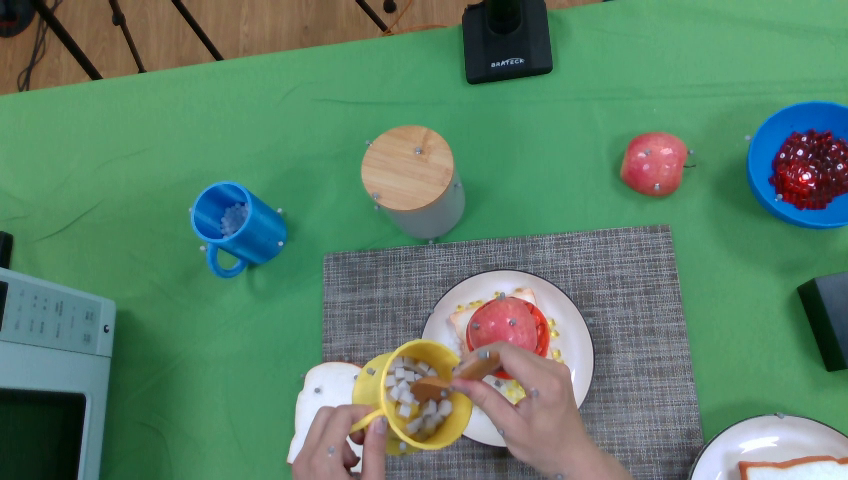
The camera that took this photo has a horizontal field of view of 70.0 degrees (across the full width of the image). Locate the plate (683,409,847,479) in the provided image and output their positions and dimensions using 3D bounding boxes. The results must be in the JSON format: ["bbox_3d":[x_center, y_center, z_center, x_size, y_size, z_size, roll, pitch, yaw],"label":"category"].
[{"bbox_3d":[0.377,0.284,0.635,0.209,0.038,0.208,-3,74,10],"label":"plate"}]

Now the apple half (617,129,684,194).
[{"bbox_3d":[0.283,-0.104,0.753,0.074,0.054,0.080,17,79,17],"label":"apple half"}]

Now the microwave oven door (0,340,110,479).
[{"bbox_3d":[-0.456,0.293,0.663,0.039,0.245,0.353,-5,73,10],"label":"microwave oven door"}]

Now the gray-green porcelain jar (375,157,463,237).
[{"bbox_3d":[-0.008,-0.066,0.759,0.105,0.127,0.105,-3,74,10],"label":"gray-green porcelain jar"}]

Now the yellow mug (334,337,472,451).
[{"bbox_3d":[-0.025,0.152,0.571,0.131,0.064,0.099,-18,80,-35],"label":"yellow mug"}]

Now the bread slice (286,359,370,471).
[{"bbox_3d":[-0.115,0.214,0.756,0.104,0.019,0.131,3,77,10],"label":"bread slice"}]

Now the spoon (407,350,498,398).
[{"bbox_3d":[0.025,0.118,0.519,0.042,0.194,0.021,16,68,-11],"label":"spoon"}]

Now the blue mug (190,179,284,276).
[{"bbox_3d":[-0.250,-0.008,0.799,0.082,0.106,0.116,16,78,15],"label":"blue mug"}]

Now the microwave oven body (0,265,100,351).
[{"bbox_3d":[-0.600,0.266,0.703,0.325,0.262,0.439,-5,74,9],"label":"microwave oven body"}]

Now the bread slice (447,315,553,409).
[{"bbox_3d":[0.098,0.136,0.737,0.107,0.018,0.133,-22,64,0],"label":"bread slice"}]

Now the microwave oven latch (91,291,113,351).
[{"bbox_3d":[-0.443,0.110,0.818,0.030,0.030,0.078,-1,75,10],"label":"microwave oven latch"}]

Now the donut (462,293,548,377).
[{"bbox_3d":[0.094,0.110,0.704,0.099,0.048,0.098,-3,75,11],"label":"donut"}]

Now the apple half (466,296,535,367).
[{"bbox_3d":[0.084,0.099,0.670,0.081,0.033,0.081,-5,72,16],"label":"apple half"}]

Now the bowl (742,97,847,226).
[{"bbox_3d":[0.441,-0.079,0.702,0.151,0.077,0.150,-3,75,10],"label":"bowl"}]

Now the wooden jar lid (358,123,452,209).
[{"bbox_3d":[-0.021,-0.084,0.698,0.108,0.021,0.107,-2,72,8],"label":"wooden jar lid"}]

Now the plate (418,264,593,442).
[{"bbox_3d":[0.095,0.133,0.727,0.207,0.039,0.206,-3,74,10],"label":"plate"}]
